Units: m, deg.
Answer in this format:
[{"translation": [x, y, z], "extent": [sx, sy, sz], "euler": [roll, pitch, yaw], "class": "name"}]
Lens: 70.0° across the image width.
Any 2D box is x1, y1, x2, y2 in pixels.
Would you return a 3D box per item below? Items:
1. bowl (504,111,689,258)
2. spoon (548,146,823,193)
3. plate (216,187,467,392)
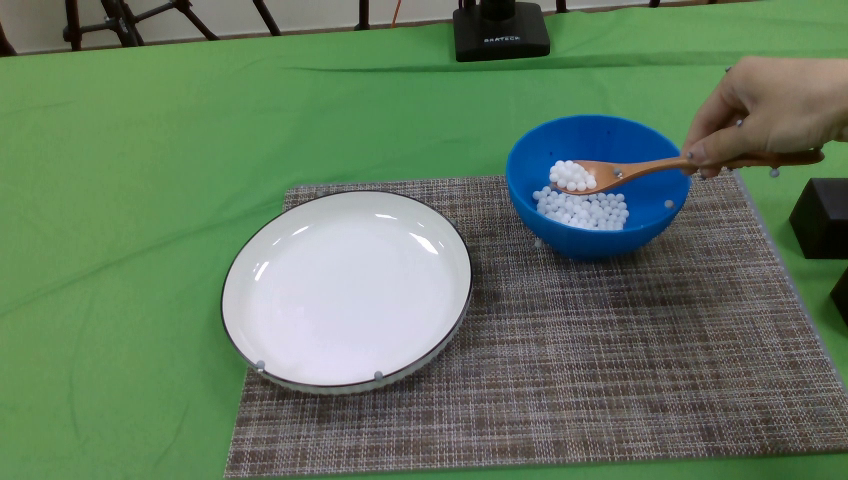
[{"translation": [0.145, -0.037, 0.533], "extent": [0.151, 0.077, 0.150], "euler": [-2, 48, 3], "class": "bowl"}, {"translation": [0.187, -0.056, 0.459], "extent": [0.193, 0.022, 0.041], "euler": [-4, 38, 36], "class": "spoon"}, {"translation": [-0.066, 0.039, 0.513], "extent": [0.207, 0.039, 0.205], "euler": [-2, 48, 3], "class": "plate"}]
